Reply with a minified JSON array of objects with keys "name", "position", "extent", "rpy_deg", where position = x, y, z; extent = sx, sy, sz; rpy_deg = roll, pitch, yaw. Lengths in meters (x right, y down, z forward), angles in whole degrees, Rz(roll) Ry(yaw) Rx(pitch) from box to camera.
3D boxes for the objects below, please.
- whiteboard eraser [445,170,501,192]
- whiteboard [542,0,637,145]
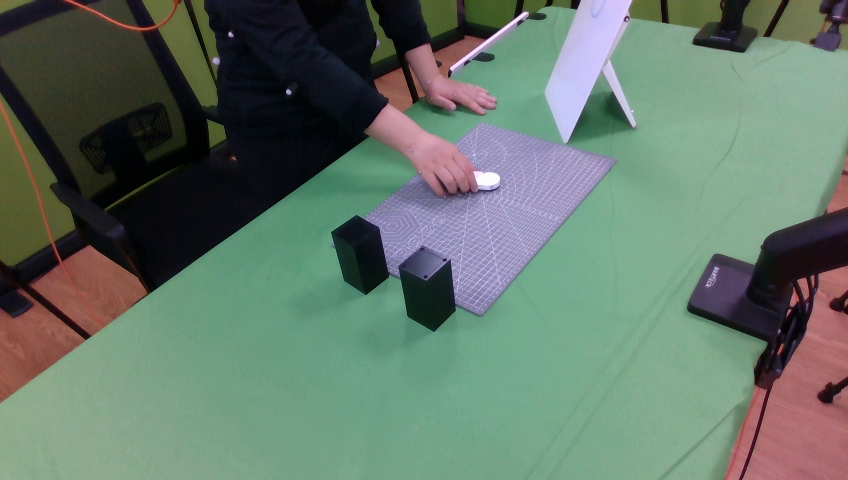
[{"name":"whiteboard eraser","position":[0.087,-0.106,1.081],"extent":[0.101,0.019,0.041],"rpy_deg":[6,41,15]},{"name":"whiteboard","position":[0.366,-0.351,1.160],"extent":[0.144,0.305,0.216],"rpy_deg":[9,39,-10]}]
